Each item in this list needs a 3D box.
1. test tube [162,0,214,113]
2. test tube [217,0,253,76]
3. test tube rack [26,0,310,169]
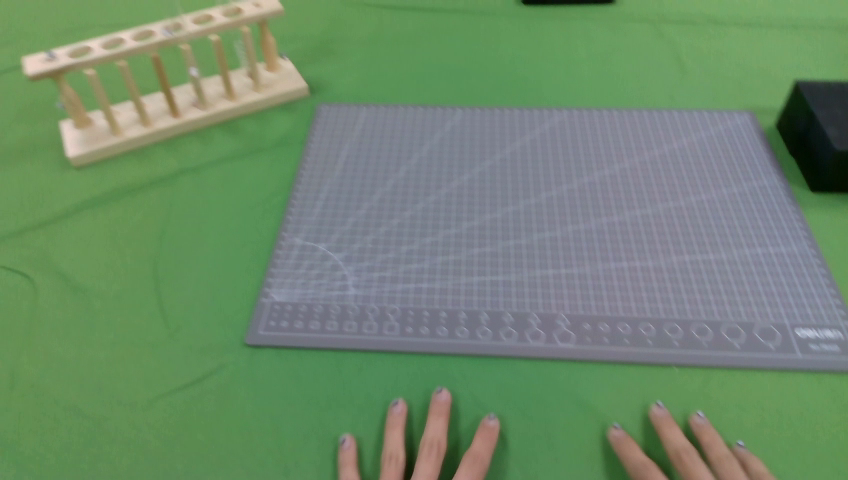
[{"bbox_3d":[-0.225,-0.185,0.571,0.017,0.152,0.017,0,47,1],"label":"test tube"},{"bbox_3d":[-0.194,-0.229,0.603,0.017,0.151,0.017,-3,51,4],"label":"test tube"},{"bbox_3d":[-0.247,-0.160,0.610,0.243,0.086,0.066,-22,51,-17],"label":"test tube rack"}]
